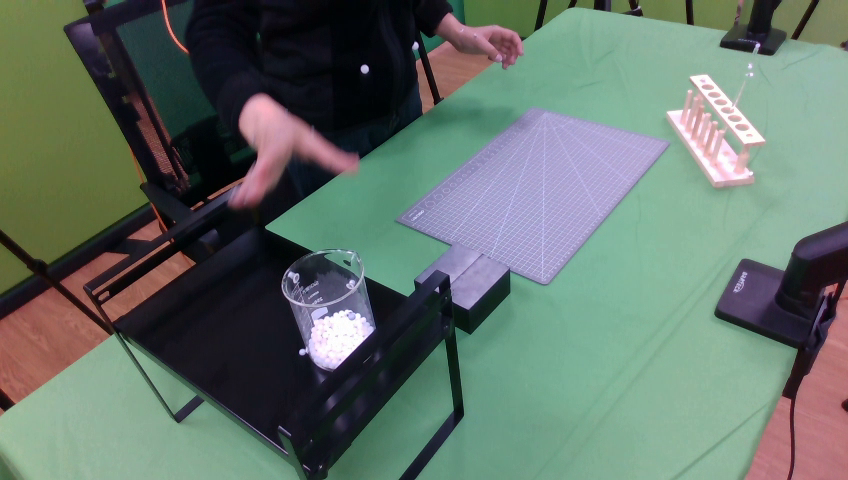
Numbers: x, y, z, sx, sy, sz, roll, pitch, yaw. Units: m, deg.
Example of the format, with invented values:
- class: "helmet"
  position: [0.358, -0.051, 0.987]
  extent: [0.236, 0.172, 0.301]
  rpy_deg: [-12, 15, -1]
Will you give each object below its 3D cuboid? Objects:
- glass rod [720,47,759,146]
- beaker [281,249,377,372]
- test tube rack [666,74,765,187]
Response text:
- class: "glass rod"
  position: [0.527, -0.234, 1.018]
  extent: [0.008, 0.200, 0.008]
  rpy_deg: [-2, 49, 3]
- class: "beaker"
  position: [-0.084, 0.068, 0.572]
  extent: [0.073, 0.101, 0.084]
  rpy_deg: [20, 48, 28]
- class: "test tube rack"
  position: [0.512, -0.201, 1.082]
  extent: [0.067, 0.085, 0.241]
  rpy_deg: [-6, 41, 2]
